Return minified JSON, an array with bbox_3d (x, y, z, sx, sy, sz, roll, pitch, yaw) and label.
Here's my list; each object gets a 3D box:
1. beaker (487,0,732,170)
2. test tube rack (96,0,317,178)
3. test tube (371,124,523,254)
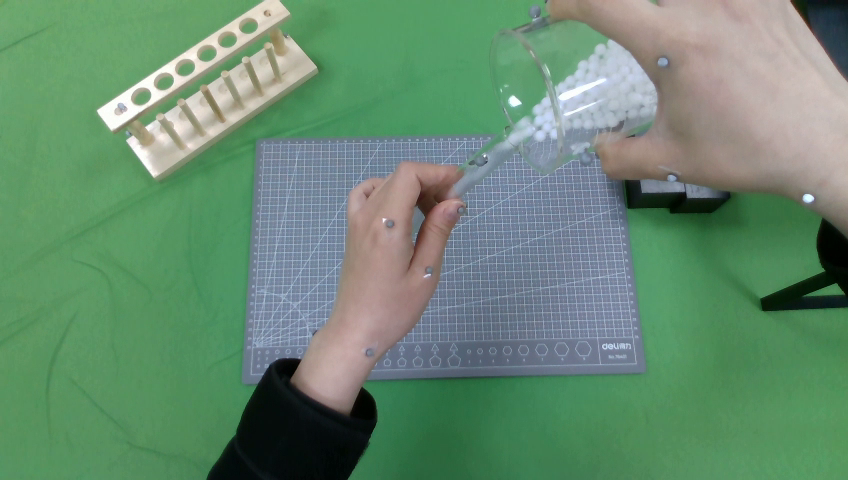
[{"bbox_3d":[0.093,-0.086,0.309,0.100,0.084,0.073,-22,77,-7],"label":"beaker"},{"bbox_3d":[-0.252,-0.184,0.729,0.242,0.085,0.066,-38,77,-11],"label":"test tube rack"},{"bbox_3d":[0.008,-0.027,0.391,0.017,0.150,0.017,21,52,-29],"label":"test tube"}]
